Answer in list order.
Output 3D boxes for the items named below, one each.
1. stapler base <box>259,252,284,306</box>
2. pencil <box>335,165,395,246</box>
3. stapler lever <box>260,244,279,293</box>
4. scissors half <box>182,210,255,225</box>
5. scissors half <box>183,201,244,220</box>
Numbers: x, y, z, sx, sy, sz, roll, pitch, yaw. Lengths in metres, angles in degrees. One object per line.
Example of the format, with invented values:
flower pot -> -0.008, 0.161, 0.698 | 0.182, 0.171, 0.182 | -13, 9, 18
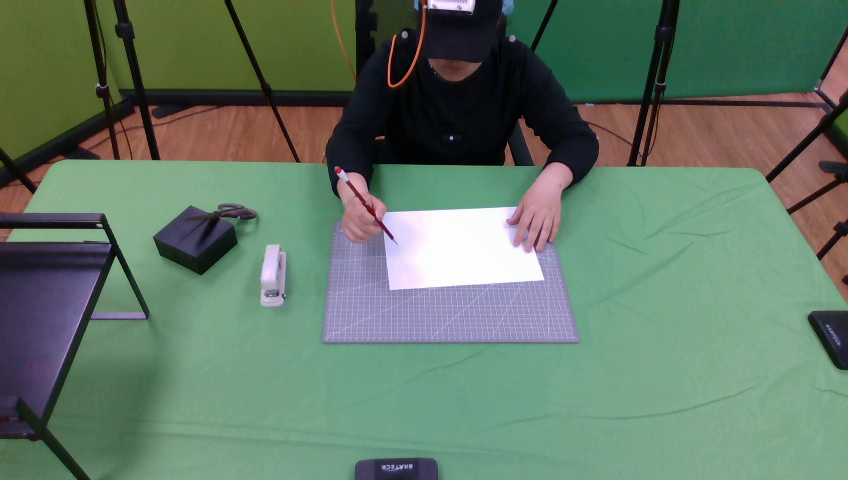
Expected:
stapler base -> -0.280, 0.064, 1.113 | 0.041, 0.024, 0.129 | -1, 44, -9
pencil -> -0.100, -0.056, 1.067 | 0.012, 0.195, 0.012 | -23, 35, 17
stapler lever -> -0.279, 0.045, 1.096 | 0.027, 0.040, 0.117 | -2, 44, -9
scissors half -> -0.389, -0.042, 1.158 | 0.040, 0.013, 0.175 | 41, 21, 23
scissors half -> -0.405, -0.054, 1.163 | 0.040, 0.013, 0.175 | 29, 18, 7
